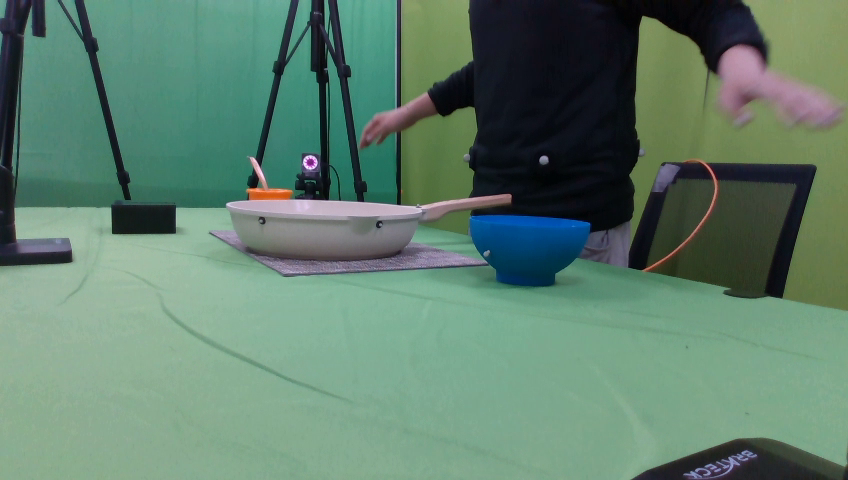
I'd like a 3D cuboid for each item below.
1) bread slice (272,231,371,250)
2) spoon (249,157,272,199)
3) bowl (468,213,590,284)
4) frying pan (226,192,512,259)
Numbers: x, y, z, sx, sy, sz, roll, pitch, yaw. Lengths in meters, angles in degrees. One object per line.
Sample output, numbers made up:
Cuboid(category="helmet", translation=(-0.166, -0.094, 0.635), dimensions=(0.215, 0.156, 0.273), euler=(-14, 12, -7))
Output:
Cuboid(category="bread slice", translation=(-0.148, 0.001, 0.929), dimensions=(0.133, 0.018, 0.107), euler=(5, 7, 38))
Cuboid(category="spoon", translation=(-0.334, -0.108, 1.269), dimensions=(0.042, 0.193, 0.021), euler=(0, -37, -39))
Cuboid(category="bowl", translation=(0.128, 0.010, 0.755), dimensions=(0.151, 0.077, 0.151), euler=(2, 7, 0))
Cuboid(category="frying pan", translation=(-0.058, -0.041, 0.974), dimensions=(0.490, 0.102, 0.305), euler=(-11, 13, -26))
